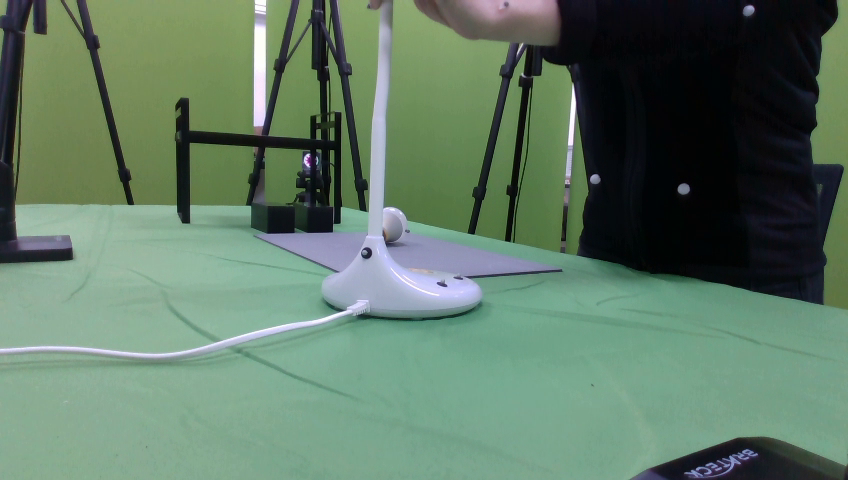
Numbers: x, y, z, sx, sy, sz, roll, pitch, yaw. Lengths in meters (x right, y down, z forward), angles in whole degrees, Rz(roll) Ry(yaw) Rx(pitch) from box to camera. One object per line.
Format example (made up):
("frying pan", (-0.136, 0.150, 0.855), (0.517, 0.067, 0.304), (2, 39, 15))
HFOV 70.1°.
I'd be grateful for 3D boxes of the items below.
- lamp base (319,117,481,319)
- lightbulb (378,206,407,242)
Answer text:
("lamp base", (-0.024, -0.025, 0.578), (0.160, 0.180, 0.179), (4, 10, 16))
("lightbulb", (-0.067, -0.019, 1.000), (0.059, 0.059, 0.108), (5, 23, 20))
